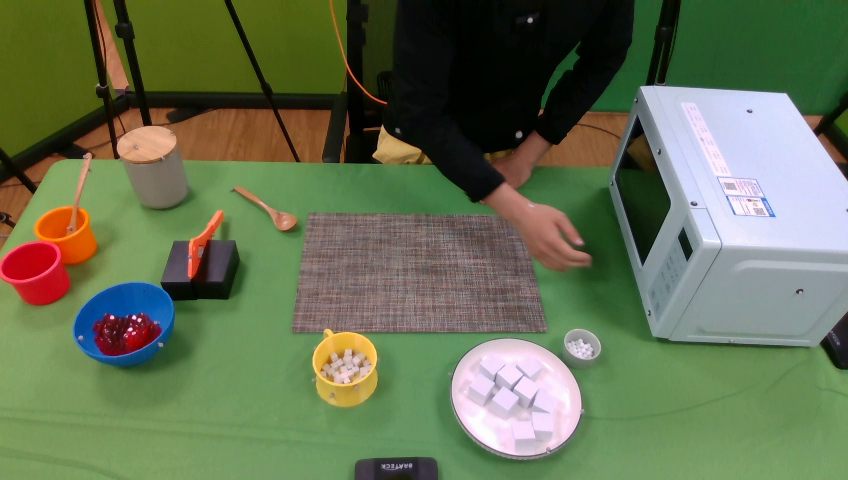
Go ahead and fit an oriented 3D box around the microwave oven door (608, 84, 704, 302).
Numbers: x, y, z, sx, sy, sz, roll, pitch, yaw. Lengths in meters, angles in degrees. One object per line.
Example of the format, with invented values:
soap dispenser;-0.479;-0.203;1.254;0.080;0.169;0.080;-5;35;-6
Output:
microwave oven door;0.424;-0.096;1.138;0.039;0.245;0.353;2;46;-1

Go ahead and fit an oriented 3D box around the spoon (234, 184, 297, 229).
spoon;-0.328;-0.073;1.240;0.193;0.022;0.041;34;71;25

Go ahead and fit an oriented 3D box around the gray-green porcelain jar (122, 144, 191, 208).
gray-green porcelain jar;-0.531;-0.137;1.214;0.106;0.127;0.105;2;47;-2

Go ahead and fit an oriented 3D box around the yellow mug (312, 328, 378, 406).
yellow mug;-0.132;0.193;0.971;0.100;0.064;0.130;-22;51;-22

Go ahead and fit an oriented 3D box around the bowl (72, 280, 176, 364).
bowl;-0.473;0.146;0.982;0.151;0.077;0.150;2;46;-2

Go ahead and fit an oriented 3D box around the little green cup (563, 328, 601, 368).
little green cup;0.265;0.184;1.025;0.061;0.039;0.061;1;46;-1

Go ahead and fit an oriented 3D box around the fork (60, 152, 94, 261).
fork;-0.638;-0.063;1.120;0.028;0.018;0.207;12;90;5

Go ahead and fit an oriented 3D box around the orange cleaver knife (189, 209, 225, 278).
orange cleaver knife;-0.401;0.002;1.122;0.012;0.077;0.210;4;23;-4

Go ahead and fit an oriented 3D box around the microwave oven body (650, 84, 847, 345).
microwave oven body;0.569;-0.054;1.116;0.326;0.261;0.439;2;46;-1

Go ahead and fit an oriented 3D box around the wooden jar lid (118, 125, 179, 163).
wooden jar lid;-0.528;-0.181;1.167;0.108;0.021;0.107;4;48;-4

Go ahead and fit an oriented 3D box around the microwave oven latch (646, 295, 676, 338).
microwave oven latch;0.413;0.133;1.060;0.030;0.029;0.078;4;46;1

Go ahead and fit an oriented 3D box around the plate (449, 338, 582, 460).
plate;0.141;0.251;0.956;0.208;0.039;0.206;2;46;-2
